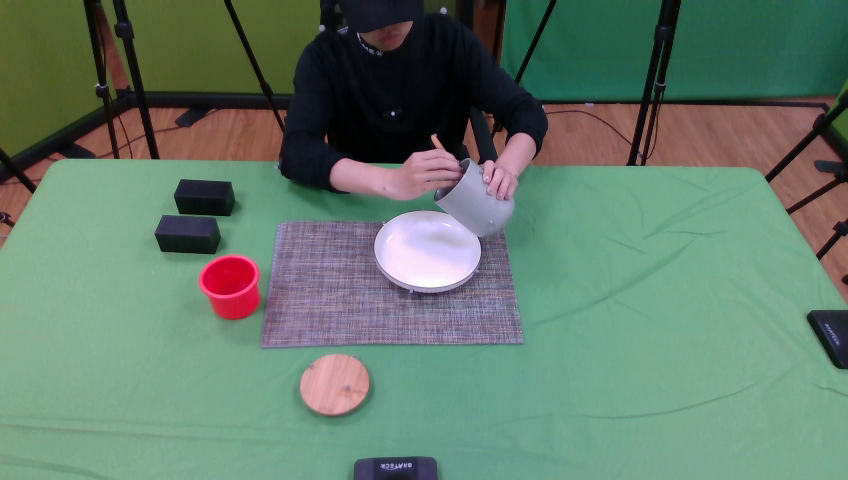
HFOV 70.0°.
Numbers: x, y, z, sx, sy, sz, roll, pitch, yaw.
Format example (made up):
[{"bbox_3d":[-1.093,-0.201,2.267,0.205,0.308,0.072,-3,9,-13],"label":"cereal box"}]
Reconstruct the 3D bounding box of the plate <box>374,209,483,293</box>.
[{"bbox_3d":[0.008,0.023,1.158,0.208,0.039,0.206,2,46,-2],"label":"plate"}]

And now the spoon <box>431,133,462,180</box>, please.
[{"bbox_3d":[0.069,-0.115,1.115,0.193,0.021,0.041,51,48,1],"label":"spoon"}]

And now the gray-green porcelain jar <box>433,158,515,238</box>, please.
[{"bbox_3d":[0.098,-0.074,1.134,0.127,0.106,0.105,37,45,-16],"label":"gray-green porcelain jar"}]

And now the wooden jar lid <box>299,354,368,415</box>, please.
[{"bbox_3d":[-0.143,0.232,0.964,0.108,0.021,0.107,2,45,-2],"label":"wooden jar lid"}]
